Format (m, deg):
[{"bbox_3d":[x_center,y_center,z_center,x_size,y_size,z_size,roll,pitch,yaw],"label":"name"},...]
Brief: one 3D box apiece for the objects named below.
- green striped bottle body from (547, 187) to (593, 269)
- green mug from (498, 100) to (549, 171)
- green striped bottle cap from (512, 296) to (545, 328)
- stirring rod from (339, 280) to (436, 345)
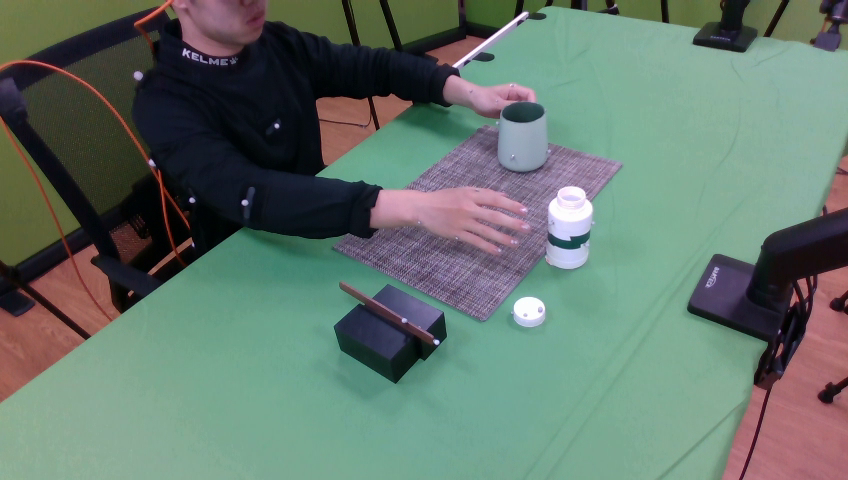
[{"bbox_3d":[0.214,-0.020,0.886,0.063,0.120,0.063,-4,41,4],"label":"green striped bottle body"},{"bbox_3d":[0.182,-0.197,1.100,0.092,0.105,0.125,3,42,12],"label":"green mug"},{"bbox_3d":[0.144,0.099,0.837,0.044,0.020,0.044,-2,45,3],"label":"green striped bottle cap"},{"bbox_3d":[-0.052,0.093,0.795,0.174,0.014,0.006,27,47,33],"label":"stirring rod"}]
